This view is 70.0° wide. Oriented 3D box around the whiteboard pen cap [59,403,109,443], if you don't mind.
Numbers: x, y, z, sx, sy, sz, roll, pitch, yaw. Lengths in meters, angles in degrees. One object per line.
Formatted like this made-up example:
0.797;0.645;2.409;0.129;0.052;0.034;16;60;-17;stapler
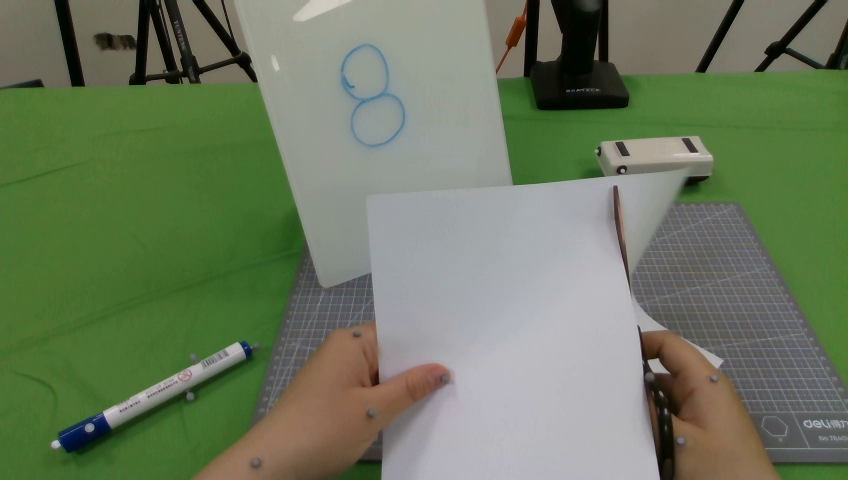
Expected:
-0.247;0.133;0.443;0.033;0.018;0.018;-28;47;-28;whiteboard pen cap

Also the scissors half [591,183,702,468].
0.128;0.046;0.360;0.013;0.040;0.174;-12;74;-15;scissors half

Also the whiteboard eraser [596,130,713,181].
0.252;-0.092;0.667;0.113;0.042;0.055;-2;43;0;whiteboard eraser

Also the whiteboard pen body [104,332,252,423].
-0.200;0.110;0.470;0.141;0.017;0.017;-28;47;-28;whiteboard pen body

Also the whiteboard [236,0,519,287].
-0.054;-0.148;0.593;0.217;0.307;0.142;-20;23;-18;whiteboard

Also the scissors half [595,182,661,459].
0.123;0.050;0.379;0.013;0.175;0.040;-11;2;-20;scissors half
